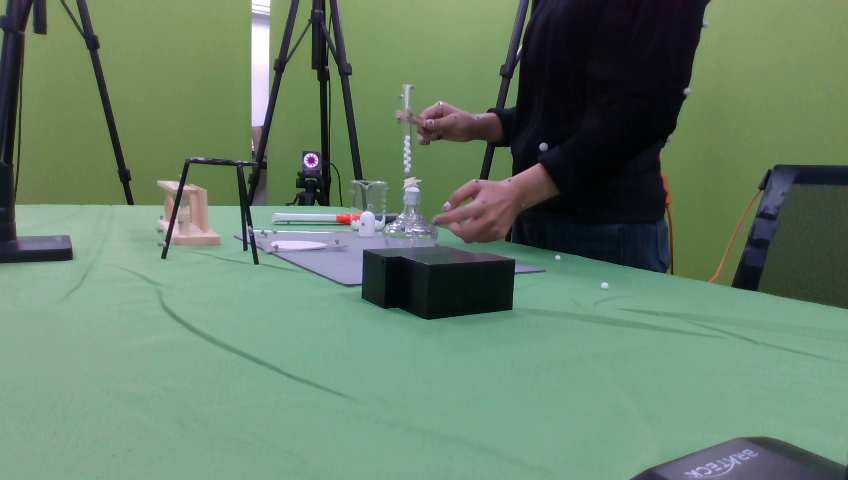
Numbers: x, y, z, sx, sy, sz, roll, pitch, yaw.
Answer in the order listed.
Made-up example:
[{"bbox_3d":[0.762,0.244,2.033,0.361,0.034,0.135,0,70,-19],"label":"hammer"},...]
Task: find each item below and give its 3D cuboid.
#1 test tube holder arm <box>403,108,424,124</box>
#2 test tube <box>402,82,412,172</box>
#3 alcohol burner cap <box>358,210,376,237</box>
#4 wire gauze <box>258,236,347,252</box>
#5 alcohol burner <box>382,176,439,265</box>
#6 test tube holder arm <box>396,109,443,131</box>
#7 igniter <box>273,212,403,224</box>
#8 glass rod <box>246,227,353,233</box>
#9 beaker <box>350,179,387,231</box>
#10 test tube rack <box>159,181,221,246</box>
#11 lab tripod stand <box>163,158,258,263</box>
[{"bbox_3d":[-0.017,-0.213,1.041,0.010,0.015,0.088,1,2,17],"label":"test tube holder arm"},{"bbox_3d":[-0.029,-0.190,1.020,0.017,0.150,0.017,-1,-1,0],"label":"test tube"},{"bbox_3d":[-0.104,-0.030,1.098,0.034,0.048,0.034,2,7,0],"label":"alcohol burner cap"},{"bbox_3d":[-0.189,0.005,0.931,0.122,0.011,0.124,1,7,-21],"label":"wire gauze"},{"bbox_3d":[-0.018,-0.027,0.818,0.078,0.119,0.078,3,10,0],"label":"alcohol burner"},{"bbox_3d":[-0.005,-0.214,1.085,0.013,0.015,0.179,2,2,24],"label":"test tube holder arm"},{"bbox_3d":[-0.179,-0.048,1.290,0.278,0.025,0.057,-1,-2,-24],"label":"igniter"},{"bbox_3d":[-0.224,-0.017,1.109,0.201,0.008,0.008,1,7,-27],"label":"glass rod"},{"bbox_3d":[-0.111,-0.069,1.204,0.074,0.100,0.084,2,8,0],"label":"beaker"},{"bbox_3d":[-0.395,-0.050,1.010,0.067,0.085,0.241,-2,8,-28],"label":"test tube rack"},{"bbox_3d":[-0.265,-0.041,0.802,0.148,0.131,0.148,4,7,0],"label":"lab tripod stand"}]
